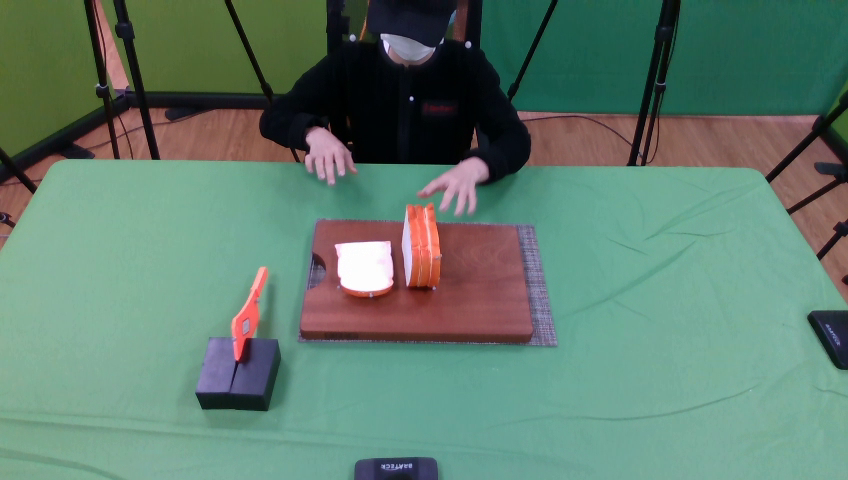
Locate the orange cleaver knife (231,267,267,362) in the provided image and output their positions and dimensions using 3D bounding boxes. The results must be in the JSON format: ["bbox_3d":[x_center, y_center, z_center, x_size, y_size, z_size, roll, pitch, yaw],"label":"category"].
[{"bbox_3d":[-0.292,0.119,1.019,0.012,0.077,0.210,-1,27,0],"label":"orange cleaver knife"}]

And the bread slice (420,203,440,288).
[{"bbox_3d":[0.010,0.018,1.089,0.018,0.107,0.133,-2,54,-7],"label":"bread slice"}]

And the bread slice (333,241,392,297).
[{"bbox_3d":[-0.110,0.052,1.096,0.105,0.019,0.130,-2,43,-8],"label":"bread slice"}]
